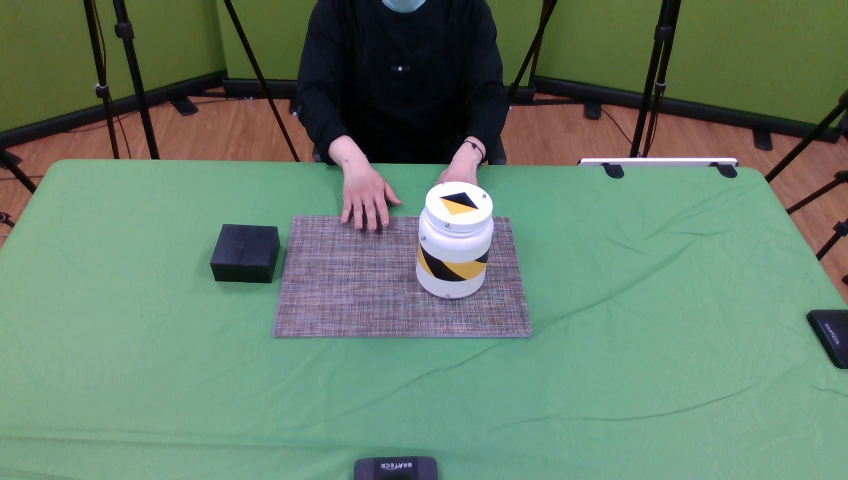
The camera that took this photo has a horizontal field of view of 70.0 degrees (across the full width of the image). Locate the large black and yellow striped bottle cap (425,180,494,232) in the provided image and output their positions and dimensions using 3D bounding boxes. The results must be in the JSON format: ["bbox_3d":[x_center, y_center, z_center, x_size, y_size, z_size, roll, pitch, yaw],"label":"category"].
[{"bbox_3d":[0.060,-0.059,1.017,0.115,0.019,0.114,2,44,-1],"label":"large black and yellow striped bottle cap"}]

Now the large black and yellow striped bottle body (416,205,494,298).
[{"bbox_3d":[0.054,0.001,1.080,0.131,0.185,0.130,2,46,-2],"label":"large black and yellow striped bottle body"}]
